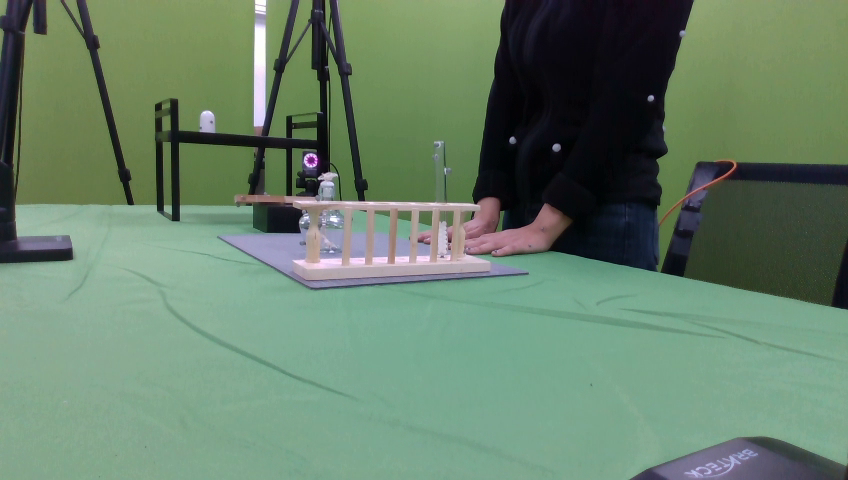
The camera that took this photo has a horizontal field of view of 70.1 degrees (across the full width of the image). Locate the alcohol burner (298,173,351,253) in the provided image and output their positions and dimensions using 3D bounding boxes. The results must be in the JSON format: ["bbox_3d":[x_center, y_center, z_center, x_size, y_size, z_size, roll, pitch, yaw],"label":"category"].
[{"bbox_3d":[-0.146,-0.040,0.894,0.078,0.119,0.078,5,7,0],"label":"alcohol burner"}]

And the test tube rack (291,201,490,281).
[{"bbox_3d":[-0.035,-0.002,0.745,0.243,0.085,0.066,-1,8,-28],"label":"test tube rack"}]

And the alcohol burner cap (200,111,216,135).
[{"bbox_3d":[-0.448,-0.243,1.255,0.034,0.048,0.034,2,6,0],"label":"alcohol burner cap"}]

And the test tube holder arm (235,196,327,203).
[{"bbox_3d":[-0.270,-0.077,1.153,0.179,0.015,0.013,-2,4,-34],"label":"test tube holder arm"}]

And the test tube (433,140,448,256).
[{"bbox_3d":[0.021,-0.054,0.786,0.017,0.150,0.017,-2,8,1],"label":"test tube"}]

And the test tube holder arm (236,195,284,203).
[{"bbox_3d":[-0.304,-0.075,1.123,0.088,0.015,0.010,-2,4,-33],"label":"test tube holder arm"}]
